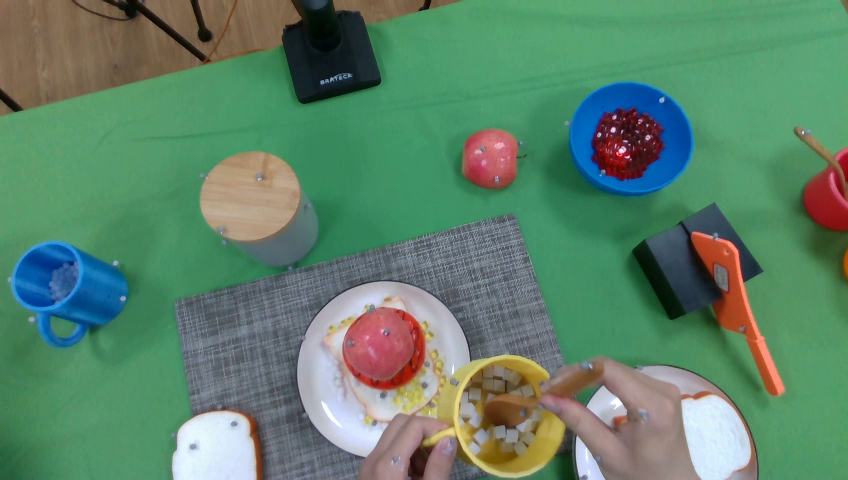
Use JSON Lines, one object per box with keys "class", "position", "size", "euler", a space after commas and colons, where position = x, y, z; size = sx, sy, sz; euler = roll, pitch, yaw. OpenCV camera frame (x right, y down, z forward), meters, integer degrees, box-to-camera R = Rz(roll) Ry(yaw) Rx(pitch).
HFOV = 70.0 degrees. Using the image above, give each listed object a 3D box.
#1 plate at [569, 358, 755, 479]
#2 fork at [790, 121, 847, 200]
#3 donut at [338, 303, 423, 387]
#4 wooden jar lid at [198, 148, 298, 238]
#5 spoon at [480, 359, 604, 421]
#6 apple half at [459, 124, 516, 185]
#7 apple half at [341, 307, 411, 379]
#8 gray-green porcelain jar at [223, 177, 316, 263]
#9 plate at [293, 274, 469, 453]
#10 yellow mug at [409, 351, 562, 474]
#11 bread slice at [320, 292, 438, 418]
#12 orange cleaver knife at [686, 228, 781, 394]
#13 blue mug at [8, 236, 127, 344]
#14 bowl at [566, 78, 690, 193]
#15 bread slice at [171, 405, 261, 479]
{"class": "plate", "position": [0.268, 0.244, 0.698], "size": [0.209, 0.038, 0.208], "euler": [0, 74, 1]}
{"class": "fork", "position": [0.491, -0.090, 0.731], "size": [0.209, 0.018, 0.028], "euler": [27, 70, -35]}
{"class": "donut", "position": [-0.050, 0.121, 0.703], "size": [0.099, 0.048, 0.098], "euler": [0, 75, 1]}
{"class": "wooden jar lid", "position": [-0.193, -0.051, 0.673], "size": [0.108, 0.021, 0.107], "euler": [0, 72, -1]}
{"class": "spoon", "position": [0.089, 0.120, 0.470], "size": [0.042, 0.194, 0.021], "euler": [22, 65, -6]}
{"class": "apple half", "position": [0.084, -0.118, 0.793], "size": [0.074, 0.053, 0.080], "euler": [6, 75, 5]}
{"class": "apple half", "position": [-0.054, 0.112, 0.667], "size": [0.081, 0.033, 0.081], "euler": [-3, 71, 8]}
{"class": "gray-green porcelain jar", "position": [-0.191, -0.033, 0.734], "size": [0.106, 0.127, 0.105], "euler": [0, 74, 1]}
{"class": "plate", "position": [-0.050, 0.145, 0.725], "size": [0.208, 0.039, 0.206], "euler": [0, 75, 1]}
{"class": "yellow mug", "position": [0.050, 0.155, 0.534], "size": [0.131, 0.064, 0.099], "euler": [-15, 80, -13]}
{"class": "bread slice", "position": [-0.045, 0.142, 0.727], "size": [0.107, 0.018, 0.133], "euler": [-31, 76, -7]}
{"class": "orange cleaver knife", "position": [0.365, 0.083, 0.719], "size": [0.012, 0.077, 0.212], "euler": [-25, 97, -13]}
{"class": "blue mug", "position": [-0.423, 0.065, 0.719], "size": [0.082, 0.106, 0.116], "euler": [5, 74, 2]}
{"class": "bowl", "position": [0.252, -0.122, 0.779], "size": [0.151, 0.077, 0.150], "euler": [0, 75, 1]}
{"class": "bread slice", "position": [-0.245, 0.261, 0.706], "size": [0.105, 0.019, 0.131], "euler": [-7, 76, -3]}
